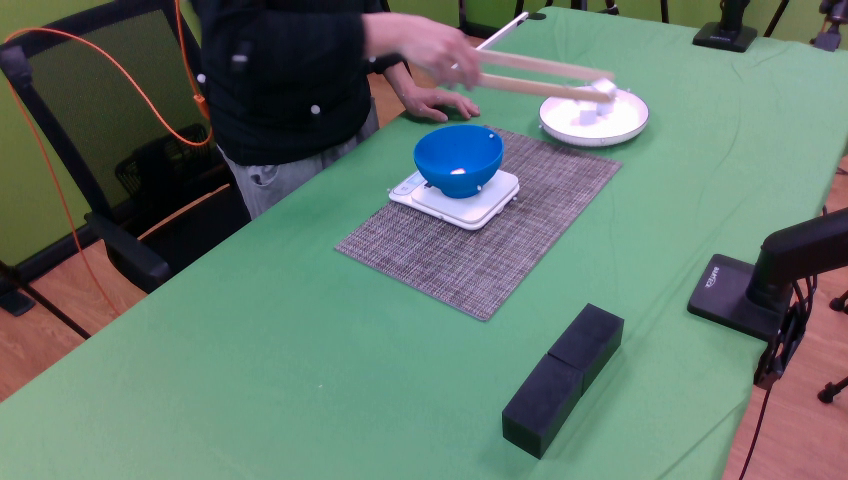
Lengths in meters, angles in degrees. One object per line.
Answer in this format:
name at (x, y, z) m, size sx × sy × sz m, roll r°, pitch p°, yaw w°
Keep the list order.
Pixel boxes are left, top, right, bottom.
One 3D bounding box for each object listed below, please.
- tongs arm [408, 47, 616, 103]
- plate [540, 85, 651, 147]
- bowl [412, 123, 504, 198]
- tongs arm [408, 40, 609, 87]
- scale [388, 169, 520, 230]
tongs arm at (0.159, -0.275, 1.022) m, size 0.387 × 0.026 × 0.050 m, roll 0°, pitch 59°, yaw -25°
plate at (0.333, -0.239, 1.186) m, size 0.207 × 0.039 × 0.206 m, roll -4°, pitch 41°, yaw 4°
bowl at (0.060, -0.123, 1.007) m, size 0.151 × 0.077 × 0.150 m, roll -5°, pitch 41°, yaw 5°
tongs arm at (0.155, -0.298, 1.035) m, size 0.390 × 0.027 × 0.028 m, roll 3°, pitch 61°, yaw -23°
scale at (0.050, -0.090, 1.052) m, size 0.199 × 0.032 × 0.149 m, roll 24°, pitch 49°, yaw 31°
